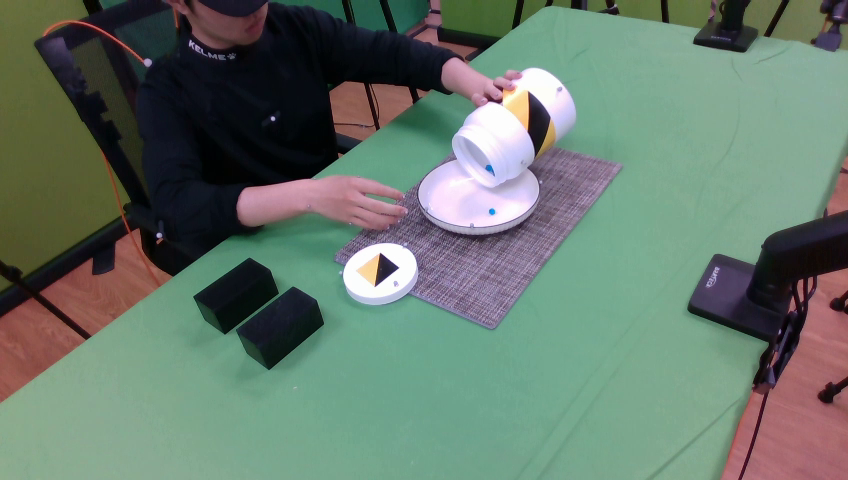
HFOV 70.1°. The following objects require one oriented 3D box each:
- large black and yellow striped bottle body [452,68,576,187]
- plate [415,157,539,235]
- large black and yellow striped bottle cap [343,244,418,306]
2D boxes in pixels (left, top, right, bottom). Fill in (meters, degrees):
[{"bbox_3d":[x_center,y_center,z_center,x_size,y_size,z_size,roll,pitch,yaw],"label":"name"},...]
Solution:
[{"bbox_3d":[0.149,-0.185,1.017,0.184,0.131,0.129,-41,49,-15],"label":"large black and yellow striped bottle body"},{"bbox_3d":[0.090,-0.074,1.025,0.207,0.039,0.206,-4,41,4],"label":"plate"},{"bbox_3d":[-0.066,0.051,0.918,0.115,0.019,0.114,-6,43,6],"label":"large black and yellow striped bottle cap"}]
